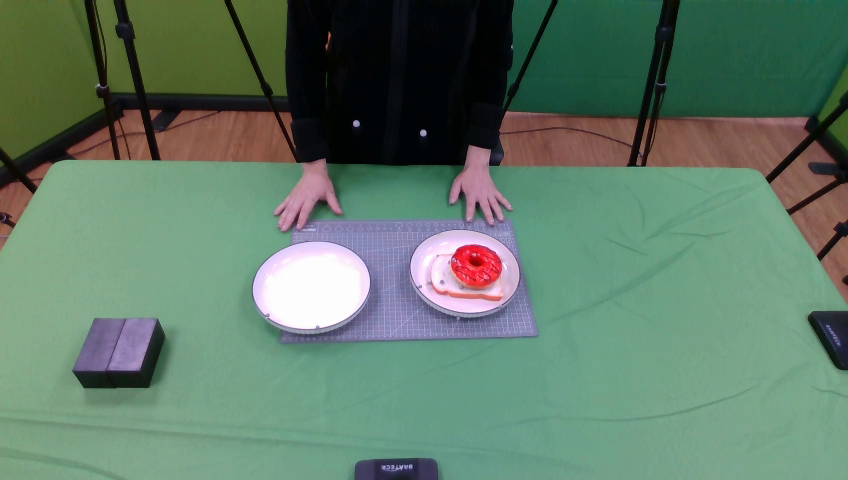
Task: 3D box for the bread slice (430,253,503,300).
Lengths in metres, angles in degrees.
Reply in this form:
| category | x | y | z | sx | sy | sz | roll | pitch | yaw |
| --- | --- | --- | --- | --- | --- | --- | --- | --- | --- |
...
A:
| category | x | y | z | sx | sy | sz | roll | pitch | yaw |
| --- | --- | --- | --- | --- | --- | --- | --- | --- | --- |
| bread slice | 0.078 | 0.066 | 1.125 | 0.134 | 0.018 | 0.106 | 0 | 45 | -2 |

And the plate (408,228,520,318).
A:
| category | x | y | z | sx | sy | sz | roll | pitch | yaw |
| --- | --- | --- | --- | --- | --- | --- | --- | --- | --- |
| plate | 0.074 | 0.063 | 1.128 | 0.209 | 0.038 | 0.208 | 2 | 46 | -2 |

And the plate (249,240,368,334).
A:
| category | x | y | z | sx | sy | sz | roll | pitch | yaw |
| --- | --- | --- | --- | --- | --- | --- | --- | --- | --- |
| plate | -0.204 | 0.086 | 1.084 | 0.208 | 0.039 | 0.206 | 2 | 46 | -2 |

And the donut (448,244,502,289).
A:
| category | x | y | z | sx | sy | sz | roll | pitch | yaw |
| --- | --- | --- | --- | --- | --- | --- | --- | --- | --- |
| donut | 0.092 | 0.048 | 1.105 | 0.099 | 0.048 | 0.098 | 3 | 45 | -3 |
